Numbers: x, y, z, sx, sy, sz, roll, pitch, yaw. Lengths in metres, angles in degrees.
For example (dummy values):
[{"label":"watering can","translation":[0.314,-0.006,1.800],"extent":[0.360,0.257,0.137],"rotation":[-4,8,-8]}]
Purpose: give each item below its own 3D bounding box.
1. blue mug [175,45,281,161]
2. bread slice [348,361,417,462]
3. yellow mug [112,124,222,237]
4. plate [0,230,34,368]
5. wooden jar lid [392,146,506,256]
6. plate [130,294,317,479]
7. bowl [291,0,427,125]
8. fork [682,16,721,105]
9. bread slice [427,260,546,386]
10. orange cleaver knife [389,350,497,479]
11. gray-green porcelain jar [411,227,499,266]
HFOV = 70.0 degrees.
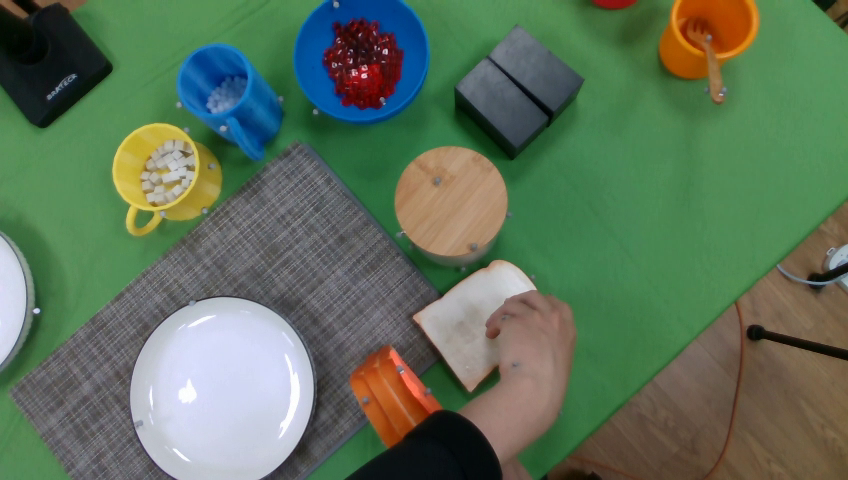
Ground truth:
[{"label":"blue mug","translation":[-0.212,-0.144,0.685],"extent":[0.082,0.106,0.116],"rotation":[-22,82,1]},{"label":"bread slice","translation":[-0.042,0.172,0.619],"extent":[0.018,0.135,0.106],"rotation":[-34,80,-4]},{"label":"yellow mug","translation":[-0.303,-0.062,0.700],"extent":[0.100,0.064,0.130],"rotation":[26,86,7]},{"label":"plate","translation":[-0.555,0.075,0.712],"extent":[0.207,0.039,0.207],"rotation":[0,83,3]},{"label":"wooden jar lid","translation":[0.024,-0.037,0.583],"extent":[0.108,0.021,0.108],"rotation":[0,82,1]},{"label":"plate","translation":[-0.219,0.165,0.675],"extent":[0.209,0.038,0.208],"rotation":[-1,83,4]},{"label":"bowl","translation":[-0.068,-0.197,0.697],"extent":[0.151,0.077,0.151],"rotation":[0,83,4]},{"label":"fork","translation":[0.294,-0.194,0.638],"extent":[0.028,0.019,0.206],"rotation":[21,40,0]},{"label":"bread slice","translation":[0.078,0.090,0.700],"extent":[0.131,0.019,0.104],"rotation":[-42,70,22]},{"label":"orange cleaver knife","translation":[0.032,0.191,0.588],"extent":[0.012,0.076,0.212],"rotation":[-37,106,-3]},{"label":"gray-green porcelain jar","translation":[0.030,-0.028,0.644],"extent":[0.106,0.127,0.105],"rotation":[0,82,3]}]
